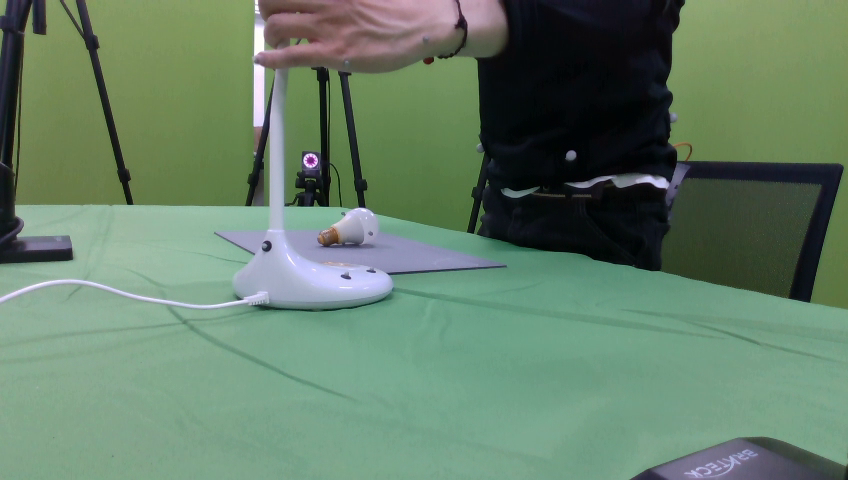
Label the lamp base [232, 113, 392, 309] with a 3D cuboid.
[{"bbox_3d":[-0.114,-0.032,0.595,0.160,0.180,0.179,4,10,17],"label":"lamp base"}]

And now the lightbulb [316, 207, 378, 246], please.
[{"bbox_3d":[-0.123,-0.016,0.967,0.108,0.059,0.059,-21,20,-33],"label":"lightbulb"}]
